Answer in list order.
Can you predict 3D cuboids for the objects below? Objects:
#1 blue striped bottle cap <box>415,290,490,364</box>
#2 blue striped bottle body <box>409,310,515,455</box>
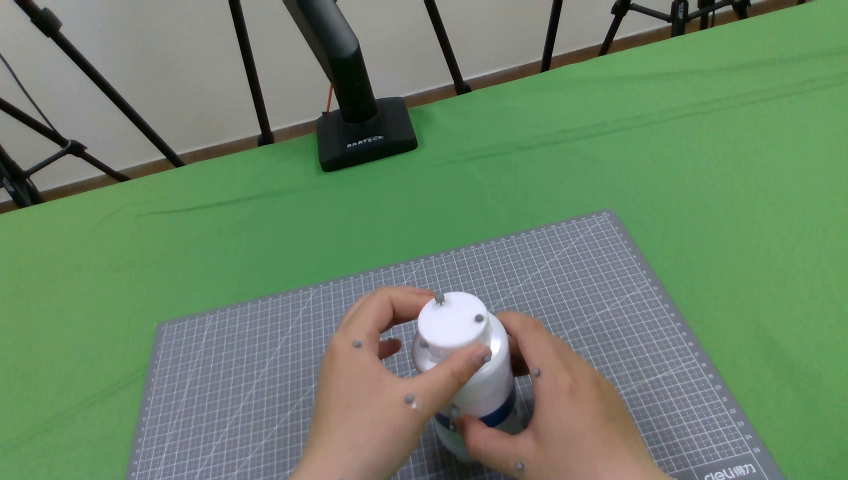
[{"bbox_3d":[0.017,0.052,0.369,0.044,0.021,0.044,-8,41,7],"label":"blue striped bottle cap"},{"bbox_3d":[0.026,0.089,0.405,0.063,0.122,0.062,-6,45,7],"label":"blue striped bottle body"}]
